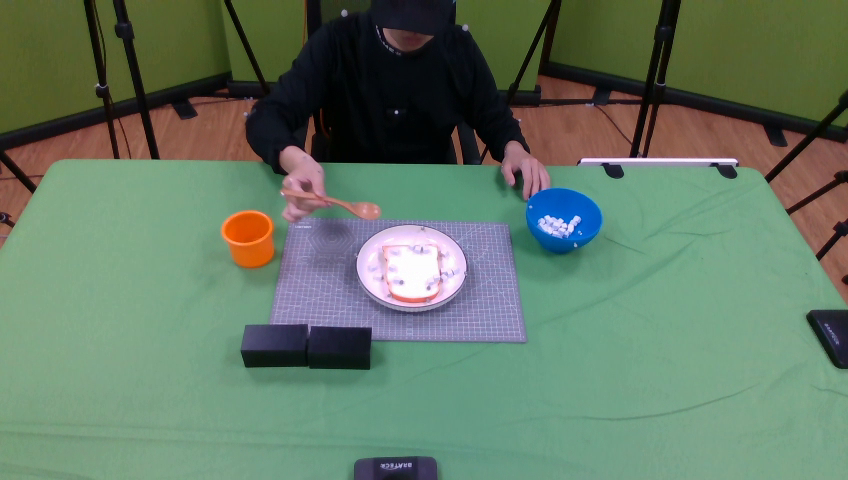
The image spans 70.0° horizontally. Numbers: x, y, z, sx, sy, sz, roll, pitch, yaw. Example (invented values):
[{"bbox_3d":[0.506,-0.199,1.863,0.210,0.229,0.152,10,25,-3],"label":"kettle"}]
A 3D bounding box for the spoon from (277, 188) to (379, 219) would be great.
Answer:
[{"bbox_3d":[-0.170,-0.070,1.090,0.194,0.021,0.041,15,48,-33],"label":"spoon"}]

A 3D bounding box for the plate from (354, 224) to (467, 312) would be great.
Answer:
[{"bbox_3d":[-0.025,0.055,1.128,0.209,0.038,0.208,3,46,-2],"label":"plate"}]

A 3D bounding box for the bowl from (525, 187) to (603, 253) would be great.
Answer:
[{"bbox_3d":[0.271,-0.028,1.206,0.151,0.077,0.150,2,46,-2],"label":"bowl"}]

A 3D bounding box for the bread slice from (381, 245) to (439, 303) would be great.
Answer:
[{"bbox_3d":[-0.022,0.061,1.126,0.107,0.018,0.133,-3,45,-8],"label":"bread slice"}]
